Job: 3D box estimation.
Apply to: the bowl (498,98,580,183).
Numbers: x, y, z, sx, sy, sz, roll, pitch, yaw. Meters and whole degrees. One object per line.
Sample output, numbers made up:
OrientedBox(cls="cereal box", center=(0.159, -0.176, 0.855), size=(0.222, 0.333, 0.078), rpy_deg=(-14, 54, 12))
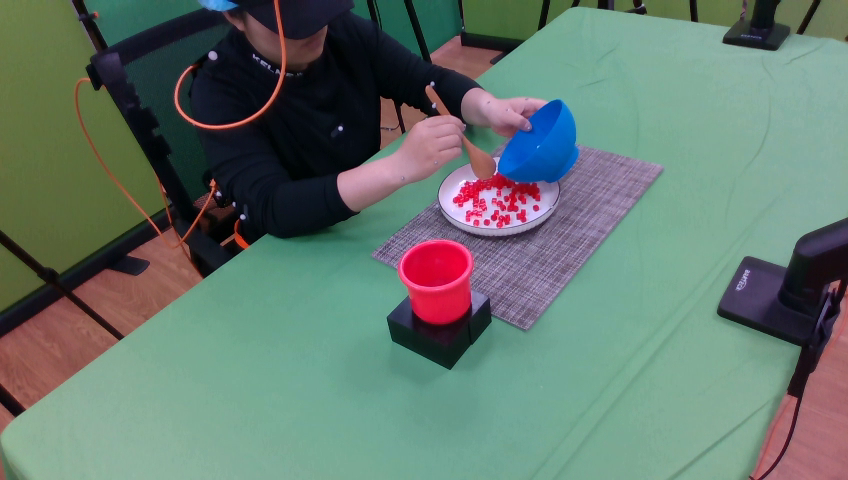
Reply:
OrientedBox(cls="bowl", center=(0.198, -0.145, 0.976), size=(0.151, 0.077, 0.151), rpy_deg=(-48, 16, 20))

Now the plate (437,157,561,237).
OrientedBox(cls="plate", center=(0.127, -0.069, 1.023), size=(0.207, 0.039, 0.206), rpy_deg=(-5, 40, 5))

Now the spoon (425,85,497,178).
OrientedBox(cls="spoon", center=(0.058, -0.169, 0.956), size=(0.041, 0.195, 0.021), rpy_deg=(-38, 28, 8))
